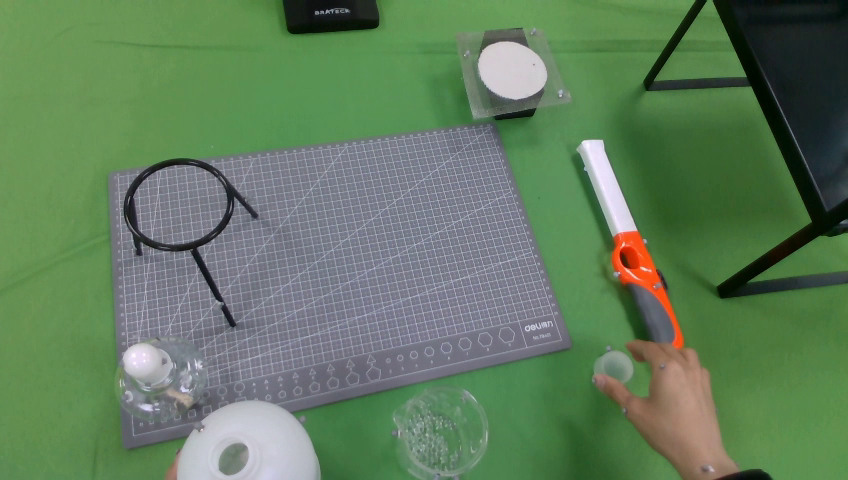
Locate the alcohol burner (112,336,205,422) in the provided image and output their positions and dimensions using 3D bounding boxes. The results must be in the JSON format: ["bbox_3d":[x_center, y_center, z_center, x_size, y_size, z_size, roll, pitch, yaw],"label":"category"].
[{"bbox_3d":[-0.235,0.116,0.530,0.078,0.120,0.077,4,63,-8],"label":"alcohol burner"}]

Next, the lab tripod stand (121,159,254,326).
[{"bbox_3d":[-0.217,-0.001,0.576,0.149,0.132,0.147,4,65,-8],"label":"lab tripod stand"}]

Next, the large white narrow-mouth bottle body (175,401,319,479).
[{"bbox_3d":[-0.136,0.180,0.472,0.102,0.196,0.101,3,64,-6],"label":"large white narrow-mouth bottle body"}]

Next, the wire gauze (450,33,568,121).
[{"bbox_3d":[0.101,-0.203,0.735,0.122,0.011,0.124,-8,67,-12],"label":"wire gauze"}]

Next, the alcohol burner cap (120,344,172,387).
[{"bbox_3d":[-0.230,0.102,0.497,0.034,0.048,0.033,3,70,-7],"label":"alcohol burner cap"}]

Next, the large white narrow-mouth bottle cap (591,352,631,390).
[{"bbox_3d":[0.197,0.138,0.638,0.038,0.024,0.037,3,64,-6],"label":"large white narrow-mouth bottle cap"}]

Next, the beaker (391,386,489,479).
[{"bbox_3d":[0.007,0.178,0.547,0.084,0.101,0.073,17,63,1],"label":"beaker"}]

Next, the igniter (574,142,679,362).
[{"bbox_3d":[0.231,0.006,0.700,0.057,0.025,0.274,-5,66,-22],"label":"igniter"}]
